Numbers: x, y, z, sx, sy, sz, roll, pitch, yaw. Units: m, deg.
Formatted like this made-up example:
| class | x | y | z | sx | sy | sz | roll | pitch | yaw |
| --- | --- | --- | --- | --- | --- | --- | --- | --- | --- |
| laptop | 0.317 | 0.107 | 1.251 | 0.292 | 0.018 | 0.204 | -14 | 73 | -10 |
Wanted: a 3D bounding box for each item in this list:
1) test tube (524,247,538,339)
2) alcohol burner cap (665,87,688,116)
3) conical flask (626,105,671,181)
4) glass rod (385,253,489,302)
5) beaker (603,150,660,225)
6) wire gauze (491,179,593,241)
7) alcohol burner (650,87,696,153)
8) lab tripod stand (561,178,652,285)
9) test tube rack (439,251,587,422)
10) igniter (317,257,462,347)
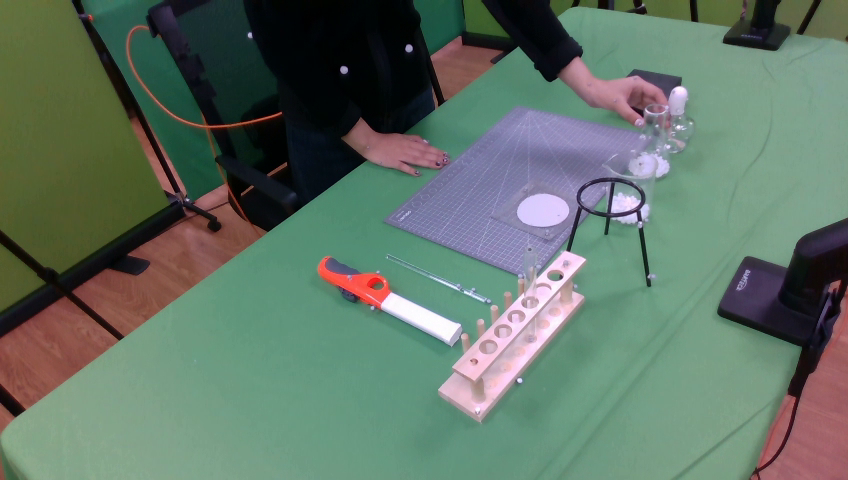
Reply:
| class | x | y | z | sx | sy | sz | roll | pitch | yaw |
| --- | --- | --- | --- | --- | --- | --- | --- | --- | --- |
| test tube | 0.133 | 0.070 | 0.749 | 0.017 | 0.151 | 0.017 | -5 | 38 | 4 |
| alcohol burner cap | 0.445 | -0.244 | 1.060 | 0.034 | 0.048 | 0.033 | -2 | 46 | 3 |
| conical flask | 0.388 | -0.168 | 1.031 | 0.075 | 0.122 | 0.075 | -6 | 40 | 5 |
| glass rod | 0.016 | 0.055 | 0.927 | 0.198 | 0.008 | 0.008 | 23 | 50 | 32 |
| beaker | 0.324 | -0.080 | 0.957 | 0.083 | 0.101 | 0.074 | 7 | 42 | 20 |
| wire gauze | 0.198 | -0.051 | 1.014 | 0.120 | 0.011 | 0.125 | 30 | 56 | 37 |
| alcohol burner | 0.448 | -0.217 | 1.084 | 0.078 | 0.119 | 0.077 | -6 | 38 | 5 |
| lab tripod stand | 0.263 | -0.014 | 0.864 | 0.148 | 0.132 | 0.147 | -7 | 38 | 6 |
| test tube rack | 0.118 | 0.111 | 0.780 | 0.066 | 0.085 | 0.243 | 26 | 51 | 35 |
| igniter | -0.061 | 0.086 | 0.891 | 0.274 | 0.025 | 0.057 | 23 | 59 | 33 |
